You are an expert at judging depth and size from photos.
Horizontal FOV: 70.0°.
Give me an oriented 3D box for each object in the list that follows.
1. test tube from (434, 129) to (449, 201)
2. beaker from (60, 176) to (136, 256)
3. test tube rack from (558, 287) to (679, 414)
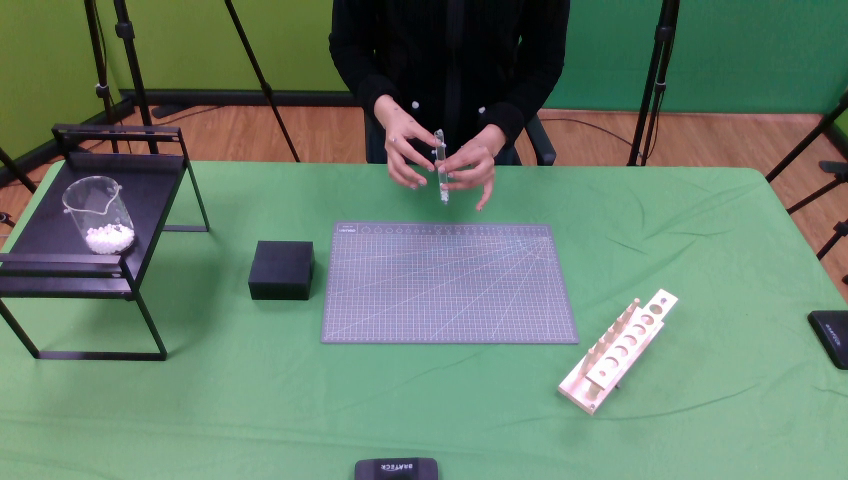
[{"bbox_3d":[0.030,-0.126,1.048,0.017,0.151,0.017,-4,44,4],"label":"test tube"},{"bbox_3d":[-0.471,-0.031,0.887,0.074,0.101,0.083,-31,56,-28],"label":"beaker"},{"bbox_3d":[0.326,0.170,1.009,0.066,0.085,0.242,35,54,26],"label":"test tube rack"}]
